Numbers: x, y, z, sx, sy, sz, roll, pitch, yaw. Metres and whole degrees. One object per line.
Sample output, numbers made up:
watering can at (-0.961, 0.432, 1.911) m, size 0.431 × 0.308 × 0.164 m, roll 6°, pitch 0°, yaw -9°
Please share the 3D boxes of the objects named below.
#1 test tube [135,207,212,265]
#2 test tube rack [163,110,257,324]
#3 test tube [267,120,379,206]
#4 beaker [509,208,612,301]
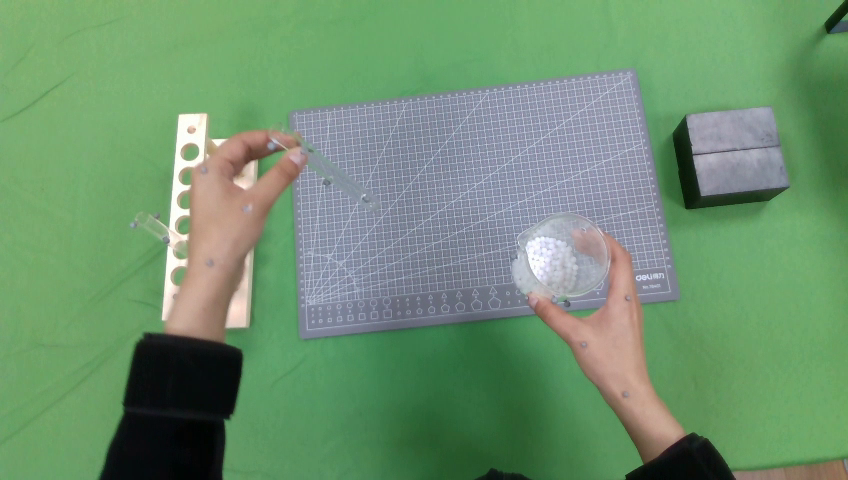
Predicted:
test tube at (-0.270, 0.000, 0.666) m, size 0.017 × 0.151 × 0.017 m, roll -2°, pitch 70°, yaw 6°
test tube rack at (-0.250, -0.026, 0.721) m, size 0.067 × 0.085 × 0.241 m, roll -2°, pitch 77°, yaw 3°
test tube at (-0.085, -0.065, 0.545) m, size 0.017 × 0.152 × 0.017 m, roll -12°, pitch 64°, yaw 26°
beaker at (0.119, 0.018, 0.565) m, size 0.084 × 0.100 × 0.074 m, roll 20°, pitch 78°, yaw 3°
